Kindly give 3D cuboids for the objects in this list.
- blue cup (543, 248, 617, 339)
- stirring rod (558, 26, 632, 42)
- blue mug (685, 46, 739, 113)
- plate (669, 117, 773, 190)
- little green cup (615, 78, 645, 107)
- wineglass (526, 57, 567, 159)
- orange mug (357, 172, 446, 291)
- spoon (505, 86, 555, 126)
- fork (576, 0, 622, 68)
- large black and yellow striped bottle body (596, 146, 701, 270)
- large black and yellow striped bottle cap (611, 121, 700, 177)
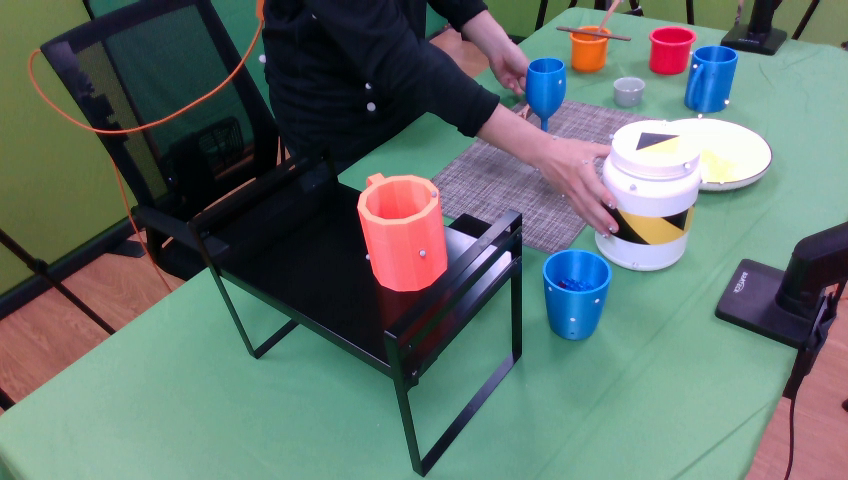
[{"bbox_3d":[0.199,0.077,0.797,0.092,0.100,0.092,-4,39,4],"label":"blue cup"},{"bbox_3d":[0.381,-0.463,1.356,0.175,0.006,0.014,22,47,30],"label":"stirring rod"},{"bbox_3d":[0.556,-0.310,1.190,0.117,0.106,0.081,-32,46,-25],"label":"blue mug"},{"bbox_3d":[0.495,-0.148,1.063,0.209,0.038,0.208,-5,40,4],"label":"plate"},{"bbox_3d":[0.426,-0.306,1.257,0.061,0.039,0.061,-4,40,4],"label":"little green cup"},{"bbox_3d":[0.221,-0.237,1.098,0.074,0.173,0.073,-5,41,4],"label":"wineglass"},{"bbox_3d":[-0.030,-0.018,0.669,0.084,0.101,0.125,-23,47,-16],"label":"orange mug"},{"bbox_3d":[0.229,-0.284,1.267,0.041,0.022,0.194,13,44,38],"label":"spoon"},{"bbox_3d":[0.409,-0.484,1.381,0.028,0.019,0.207,37,101,46],"label":"fork"},{"bbox_3d":[0.323,-0.062,0.877,0.131,0.185,0.130,-5,40,4],"label":"large black and yellow striped bottle body"},{"bbox_3d":[0.315,-0.126,0.823,0.115,0.019,0.114,-4,42,4],"label":"large black and yellow striped bottle cap"}]
